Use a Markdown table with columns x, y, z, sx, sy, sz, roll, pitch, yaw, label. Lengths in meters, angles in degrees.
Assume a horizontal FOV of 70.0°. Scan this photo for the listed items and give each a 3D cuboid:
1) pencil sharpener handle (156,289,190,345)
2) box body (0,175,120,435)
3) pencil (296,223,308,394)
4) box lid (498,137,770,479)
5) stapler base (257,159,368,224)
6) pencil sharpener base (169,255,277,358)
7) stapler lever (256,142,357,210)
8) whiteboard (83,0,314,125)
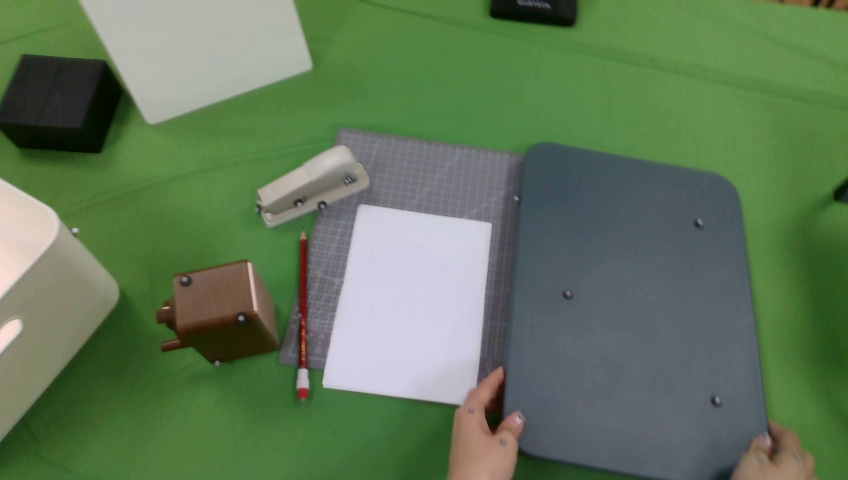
| x | y | z | sx | sy | sz | roll | pitch | yaw | label |
| --- | --- | --- | --- | --- | --- | --- | --- | --- | --- |
| -0.240 | 0.076 | 0.568 | 0.031 | 0.068 | 0.035 | -12 | 49 | -7 | pencil sharpener handle |
| -0.515 | 0.030 | 0.561 | 0.363 | 0.161 | 0.253 | 28 | 67 | 10 | box body |
| -0.130 | 0.067 | 0.643 | 0.012 | 0.012 | 0.192 | -4 | 64 | -4 | pencil |
| 0.222 | 0.053 | 0.646 | 0.263 | 0.015 | 0.368 | 11 | 61 | -2 | box lid |
| -0.129 | -0.063 | 0.698 | 0.130 | 0.024 | 0.041 | -24 | 64 | -10 | stapler base |
| -0.192 | 0.068 | 0.588 | 0.077 | 0.108 | 0.061 | -12 | 65 | -7 | pencil sharpener base |
| -0.131 | -0.073 | 0.675 | 0.118 | 0.040 | 0.026 | -24 | 63 | -10 | stapler lever |
| -0.285 | -0.329 | 0.699 | 0.217 | 0.308 | 0.142 | -23 | 48 | -12 | whiteboard |
